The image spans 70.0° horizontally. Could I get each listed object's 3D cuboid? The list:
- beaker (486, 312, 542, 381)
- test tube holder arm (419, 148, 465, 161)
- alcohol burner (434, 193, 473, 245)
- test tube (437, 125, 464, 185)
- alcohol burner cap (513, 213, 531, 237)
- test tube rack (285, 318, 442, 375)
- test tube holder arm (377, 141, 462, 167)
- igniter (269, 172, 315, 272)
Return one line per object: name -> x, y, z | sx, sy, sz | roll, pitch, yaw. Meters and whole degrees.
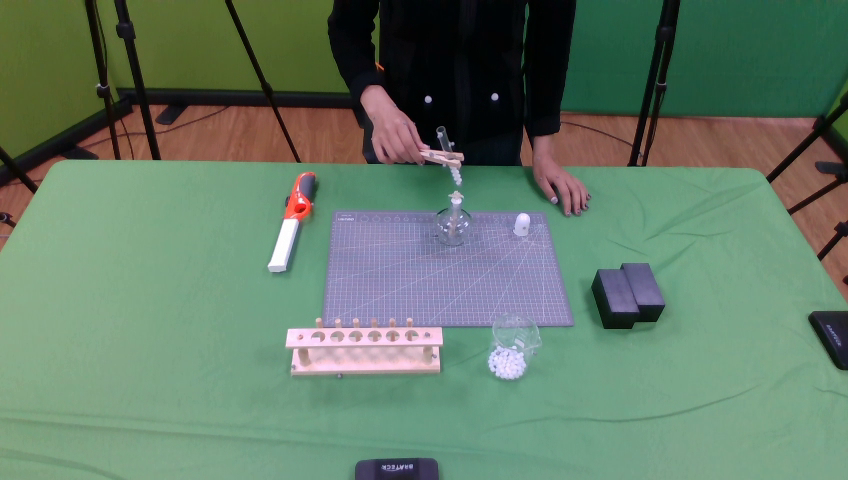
beaker -> 0.144, 0.177, 0.985 | 0.084, 0.101, 0.074 | 22, 49, 16
test tube holder arm -> 0.030, -0.153, 1.085 | 0.087, 0.015, 0.010 | 9, 56, 23
alcohol burner -> 0.059, -0.047, 1.180 | 0.078, 0.120, 0.077 | 1, 48, -1
test tube -> 0.048, -0.147, 1.071 | 0.017, 0.151, 0.017 | -9, 55, 13
alcohol burner cap -> 0.200, -0.034, 1.227 | 0.034, 0.048, 0.033 | 1, 45, -1
test tube rack -> -0.095, 0.168, 0.986 | 0.242, 0.085, 0.066 | 0, 46, -4
test tube holder arm -> -0.011, -0.158, 1.102 | 0.178, 0.015, 0.013 | 16, 58, 26
igniter -> -0.263, -0.045, 1.219 | 0.057, 0.025, 0.275 | -2, 45, 8
